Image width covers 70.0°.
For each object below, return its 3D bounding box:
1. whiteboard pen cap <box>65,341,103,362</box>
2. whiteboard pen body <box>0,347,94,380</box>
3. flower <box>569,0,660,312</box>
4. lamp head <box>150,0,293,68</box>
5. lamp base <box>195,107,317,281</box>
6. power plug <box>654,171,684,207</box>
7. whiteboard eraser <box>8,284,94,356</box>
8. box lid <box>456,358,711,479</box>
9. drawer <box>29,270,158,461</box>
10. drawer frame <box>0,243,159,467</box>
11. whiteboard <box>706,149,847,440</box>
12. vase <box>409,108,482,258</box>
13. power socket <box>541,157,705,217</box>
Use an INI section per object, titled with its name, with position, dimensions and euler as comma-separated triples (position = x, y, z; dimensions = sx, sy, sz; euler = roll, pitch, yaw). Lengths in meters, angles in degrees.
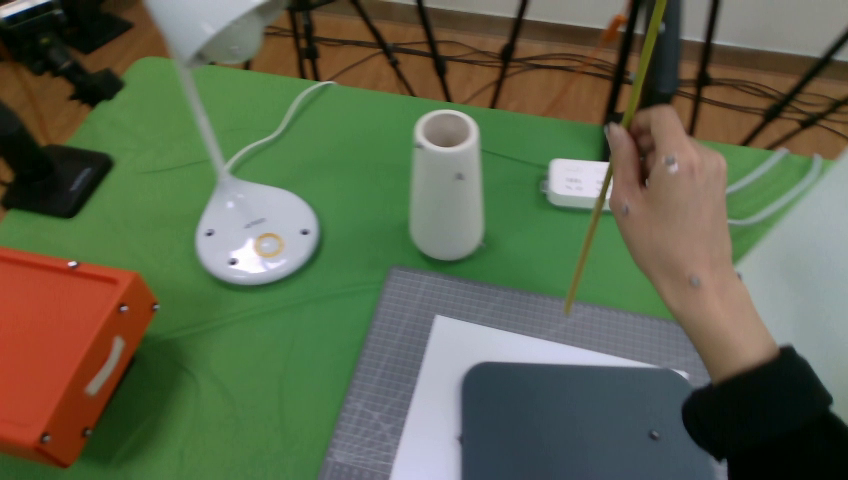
[whiteboard pen cap]
position = -0.367, 0.121, 0.654
dimensions = 0.033, 0.018, 0.018
euler = -14, 54, -14
[whiteboard pen body]
position = -0.423, 0.134, 0.637
dimensions = 0.141, 0.017, 0.017
euler = -14, 54, -12
[flower]
position = 0.132, -0.061, 0.423
dimensions = 0.044, 0.365, 0.038
euler = 4, 47, 6
[lamp head]
position = -0.191, -0.226, 0.518
dimensions = 0.112, 0.112, 0.123
euler = -43, 102, -27
[lamp base]
position = -0.234, -0.065, 0.760
dimensions = 0.160, 0.182, 0.177
euler = -36, 58, -24
[power plug]
position = 0.328, -0.062, 0.817
dimensions = 0.035, 0.053, 0.072
euler = 14, 56, 12
[whiteboard eraser]
position = -0.424, 0.093, 0.695
dimensions = 0.112, 0.042, 0.055
euler = -21, 61, 22
[box lid]
position = 0.163, 0.287, 0.599
dimensions = 0.263, 0.015, 0.368
euler = 2, 54, 1
[drawer]
position = -0.427, 0.109, 0.637
dimensions = 0.211, 0.074, 0.193
euler = 10, 55, 7
[drawer frame]
position = -0.433, 0.111, 0.639
dimensions = 0.213, 0.083, 0.200
euler = 10, 55, 6
[whiteboard]
position = 0.505, 0.035, 0.641
dimensions = 0.144, 0.307, 0.215
euler = -4, 50, -26
[vase]
position = 0.026, -0.065, 0.746
dimensions = 0.098, 0.202, 0.097
euler = -1, 52, 2
[power socket]
position = 0.281, -0.076, 0.857
dimensions = 0.226, 0.033, 0.071
euler = 6, 54, 4
